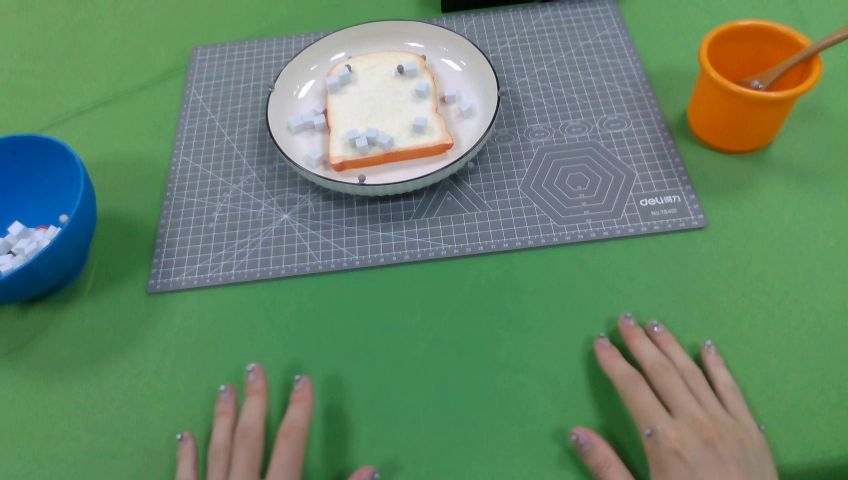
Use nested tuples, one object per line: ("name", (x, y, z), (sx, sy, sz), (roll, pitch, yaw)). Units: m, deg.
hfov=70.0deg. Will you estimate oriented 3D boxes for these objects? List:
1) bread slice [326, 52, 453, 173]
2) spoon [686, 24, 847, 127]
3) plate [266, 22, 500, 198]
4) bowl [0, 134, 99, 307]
("bread slice", (-0.040, -0.121, 0.556), (0.107, 0.018, 0.133), (-13, 58, -2))
("spoon", (0.300, -0.143, 0.474), (0.022, 0.193, 0.041), (24, 53, -33))
("plate", (-0.037, -0.118, 0.551), (0.209, 0.038, 0.207), (-2, 57, 4))
("bowl", (-0.323, -0.002, 0.482), (0.151, 0.077, 0.150), (-2, 57, 4))
